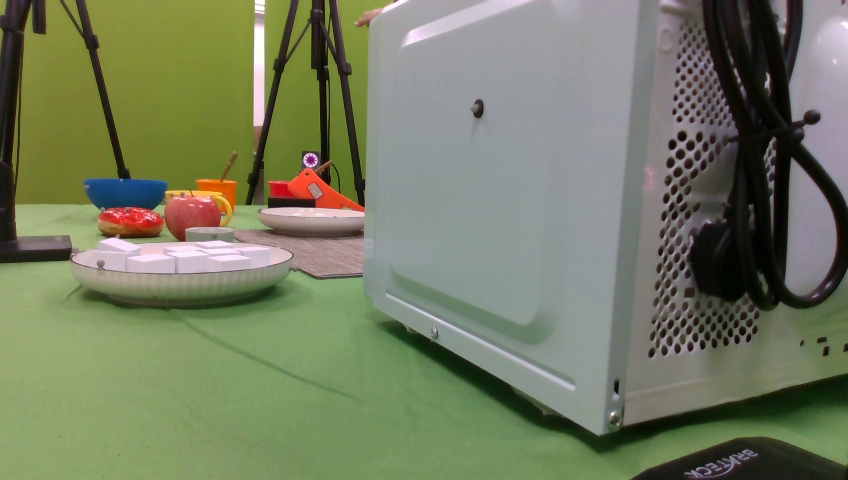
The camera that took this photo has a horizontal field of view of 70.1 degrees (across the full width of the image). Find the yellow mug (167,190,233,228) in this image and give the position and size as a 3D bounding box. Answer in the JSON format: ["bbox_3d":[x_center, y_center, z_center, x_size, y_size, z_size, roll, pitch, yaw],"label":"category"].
[{"bbox_3d":[-0.415,-0.057,1.132,0.130,0.064,0.100,6,8,16],"label":"yellow mug"}]

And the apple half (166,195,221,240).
[{"bbox_3d":[-0.351,-0.031,0.935,0.081,0.074,0.053,1,11,-40],"label":"apple half"}]

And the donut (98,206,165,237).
[{"bbox_3d":[-0.472,-0.028,0.979,0.099,0.048,0.099,5,8,0],"label":"donut"}]

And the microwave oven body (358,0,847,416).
[{"bbox_3d":[0.211,-0.047,0.474,0.444,0.260,0.324,-1,7,-28],"label":"microwave oven body"}]

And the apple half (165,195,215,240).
[{"bbox_3d":[-0.377,-0.038,0.964,0.082,0.081,0.032,-4,15,-39],"label":"apple half"}]

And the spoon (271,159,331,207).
[{"bbox_3d":[-0.307,-0.141,1.513,0.193,0.021,0.041,-42,3,8],"label":"spoon"}]

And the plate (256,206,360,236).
[{"bbox_3d":[-0.202,-0.037,1.120,0.209,0.038,0.209,2,8,0],"label":"plate"}]

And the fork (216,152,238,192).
[{"bbox_3d":[-0.455,-0.132,1.366,0.028,0.018,0.207,-2,-35,-37],"label":"fork"}]

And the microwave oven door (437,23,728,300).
[{"bbox_3d":[0.181,-0.072,0.621,0.358,0.243,0.039,-2,8,-29],"label":"microwave oven door"}]

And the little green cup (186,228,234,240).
[{"bbox_3d":[-0.284,0.005,0.805,0.061,0.038,0.061,2,8,0],"label":"little green cup"}]

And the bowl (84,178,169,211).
[{"bbox_3d":[-0.584,-0.078,1.194,0.151,0.077,0.151,3,8,0],"label":"bowl"}]

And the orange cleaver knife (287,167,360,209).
[{"bbox_3d":[-0.209,-0.089,1.383,0.212,0.077,0.012,31,4,-15],"label":"orange cleaver knife"}]

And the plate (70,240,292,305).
[{"bbox_3d":[-0.242,0.031,0.618,0.208,0.039,0.207,2,8,0],"label":"plate"}]

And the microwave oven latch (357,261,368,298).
[{"bbox_3d":[-0.019,0.033,0.530,0.079,0.029,0.030,-1,7,-27],"label":"microwave oven latch"}]
